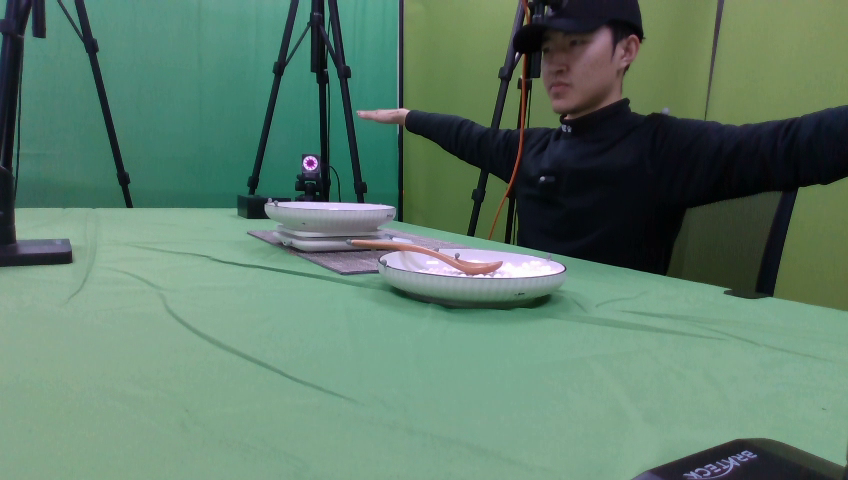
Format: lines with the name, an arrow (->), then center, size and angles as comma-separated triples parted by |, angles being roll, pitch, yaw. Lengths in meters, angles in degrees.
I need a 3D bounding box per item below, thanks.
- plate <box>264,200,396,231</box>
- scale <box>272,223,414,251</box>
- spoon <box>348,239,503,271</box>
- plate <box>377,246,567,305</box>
plate -> -0.150, -0.040, 0.971 | 0.208, 0.039, 0.207 | 2, 7, 0
scale -> -0.131, -0.008, 0.984 | 0.202, 0.031, 0.148 | -2, 8, -32
spoon -> -0.002, 0.014, 0.721 | 0.193, 0.021, 0.042 | 12, 9, 17
plate -> 0.052, 0.039, 0.671 | 0.209, 0.038, 0.209 | 2, 6, 0
